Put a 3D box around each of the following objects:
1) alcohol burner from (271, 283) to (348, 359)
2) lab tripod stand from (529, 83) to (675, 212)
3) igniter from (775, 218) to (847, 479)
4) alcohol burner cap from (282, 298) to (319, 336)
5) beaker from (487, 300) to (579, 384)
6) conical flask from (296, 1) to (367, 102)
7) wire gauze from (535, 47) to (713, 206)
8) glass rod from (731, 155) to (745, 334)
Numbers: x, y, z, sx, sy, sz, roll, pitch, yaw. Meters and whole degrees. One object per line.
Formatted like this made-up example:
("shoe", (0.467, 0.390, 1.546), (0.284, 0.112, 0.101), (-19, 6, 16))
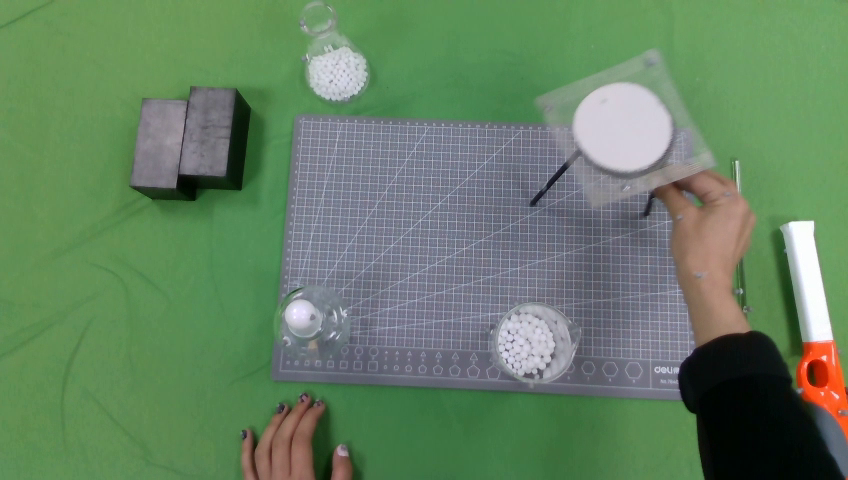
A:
("alcohol burner", (-0.116, 0.078, 0.598), (0.078, 0.119, 0.077), (0, 78, 0))
("lab tripod stand", (0.182, -0.085, 0.614), (0.148, 0.132, 0.148), (0, 79, 1))
("igniter", (0.406, 0.113, 0.630), (0.057, 0.025, 0.275), (-3, 80, -10))
("alcohol burner cap", (-0.116, 0.069, 0.563), (0.034, 0.048, 0.033), (2, 72, -5))
("beaker", (0.103, 0.100, 0.598), (0.084, 0.100, 0.073), (-16, 80, -2))
("conical flask", (-0.104, -0.205, 0.648), (0.075, 0.122, 0.075), (0, 79, 1))
("wire gauze", (0.181, -0.103, 0.549), (0.125, 0.011, 0.121), (-21, 79, -3))
("glass rod", (0.342, 0.003, 0.660), (0.008, 0.008, 0.199), (2, 80, 1))
